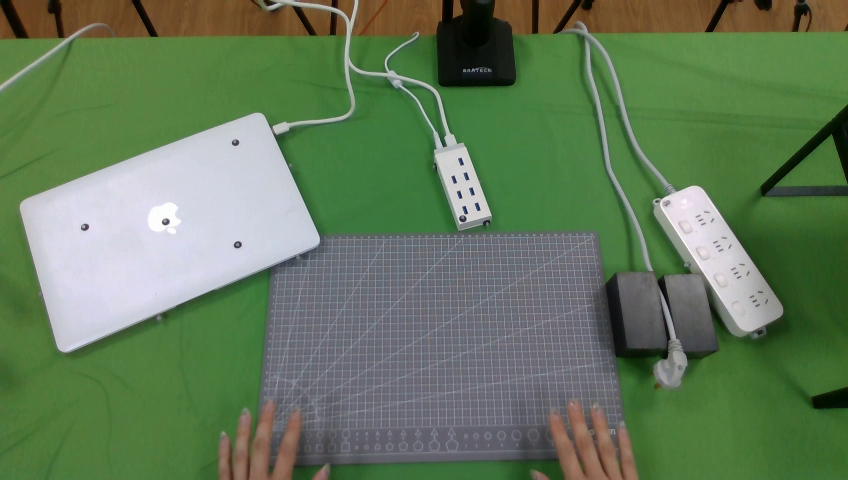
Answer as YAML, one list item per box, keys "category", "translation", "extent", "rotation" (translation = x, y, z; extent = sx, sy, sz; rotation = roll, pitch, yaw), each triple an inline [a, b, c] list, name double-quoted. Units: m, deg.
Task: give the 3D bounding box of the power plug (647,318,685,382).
- category: "power plug"
  translation: [0.298, 0.141, 0.745]
  extent: [0.035, 0.053, 0.072]
  rotation: [29, 50, -7]

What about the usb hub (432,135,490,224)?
- category: "usb hub"
  translation: [0.051, -0.086, 0.858]
  extent: [0.049, 0.025, 0.124]
  rotation: [-15, 69, -6]

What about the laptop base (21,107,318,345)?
- category: "laptop base"
  translation: [-0.348, -0.030, 0.832]
  extent: [0.354, 0.023, 0.234]
  rotation: [-24, 73, -10]

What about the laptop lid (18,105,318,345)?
- category: "laptop lid"
  translation: [-0.347, -0.033, 0.820]
  extent: [0.357, 0.013, 0.240]
  rotation: [-22, 72, -9]

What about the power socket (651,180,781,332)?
- category: "power socket"
  translation: [0.391, 0.017, 0.818]
  extent: [0.072, 0.033, 0.225]
  rotation: [-21, 70, -10]
